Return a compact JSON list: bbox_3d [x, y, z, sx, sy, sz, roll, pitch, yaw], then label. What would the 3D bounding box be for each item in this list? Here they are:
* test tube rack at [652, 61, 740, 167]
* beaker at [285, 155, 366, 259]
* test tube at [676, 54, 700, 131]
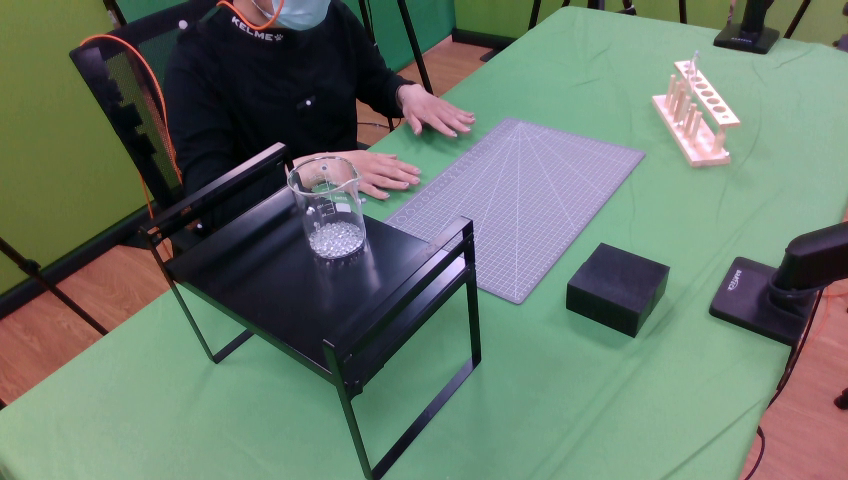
[{"bbox_3d":[0.499,-0.242,1.130,0.067,0.085,0.241,-5,41,3],"label":"test tube rack"},{"bbox_3d":[-0.105,-0.035,0.690,0.084,0.101,0.073,-4,41,3],"label":"beaker"},{"bbox_3d":[0.475,-0.263,1.088,0.017,0.151,0.017,-4,43,4],"label":"test tube"}]
